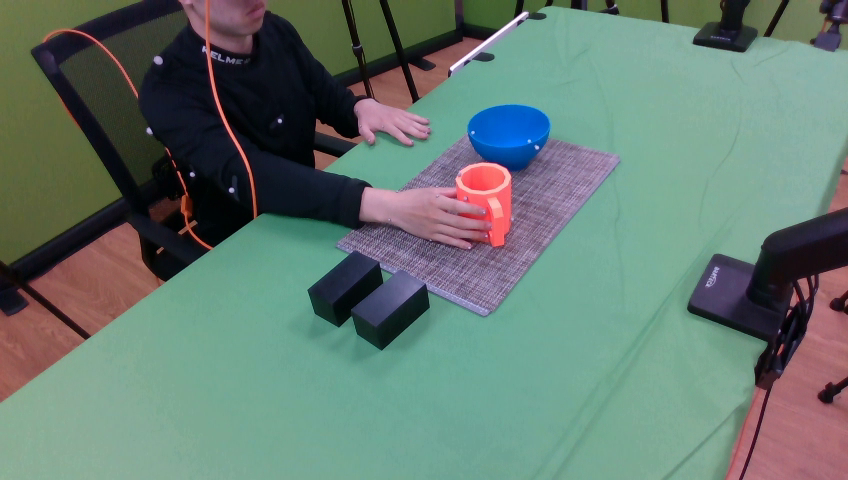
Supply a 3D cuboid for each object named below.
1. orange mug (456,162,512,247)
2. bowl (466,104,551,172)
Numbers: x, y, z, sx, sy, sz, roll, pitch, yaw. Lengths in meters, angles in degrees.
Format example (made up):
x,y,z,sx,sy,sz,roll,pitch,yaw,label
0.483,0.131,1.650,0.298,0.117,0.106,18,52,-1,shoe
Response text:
x,y,z,sx,sy,sz,roll,pitch,yaw,label
0.100,-0.051,0.948,0.083,0.101,0.125,-13,36,-6,orange mug
0.155,-0.177,1.105,0.151,0.077,0.150,-4,40,4,bowl
